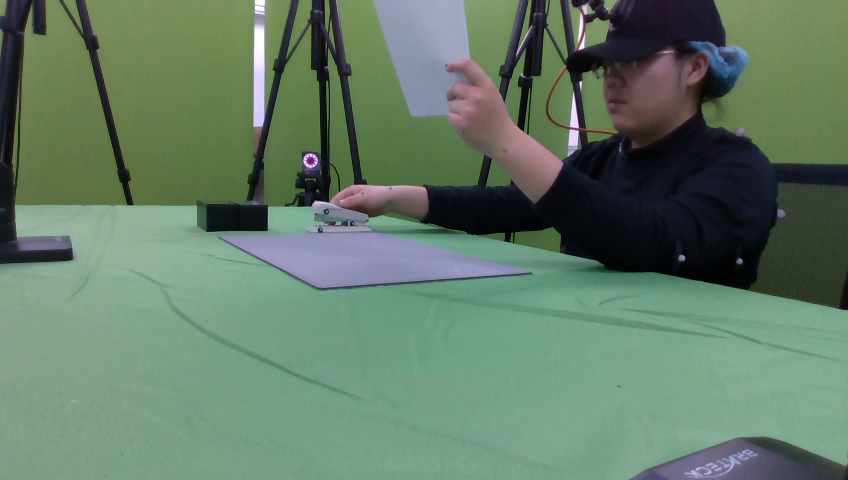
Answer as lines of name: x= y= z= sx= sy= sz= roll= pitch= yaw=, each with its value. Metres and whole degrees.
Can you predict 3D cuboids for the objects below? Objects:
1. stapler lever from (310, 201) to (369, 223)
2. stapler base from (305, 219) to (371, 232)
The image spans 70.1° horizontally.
stapler lever: x=-0.166 y=-0.054 z=1.185 sx=0.119 sy=0.040 sz=0.026 roll=1 pitch=9 yaw=-33
stapler base: x=-0.168 y=-0.029 z=1.186 sx=0.131 sy=0.024 sz=0.041 roll=0 pitch=9 yaw=-33
